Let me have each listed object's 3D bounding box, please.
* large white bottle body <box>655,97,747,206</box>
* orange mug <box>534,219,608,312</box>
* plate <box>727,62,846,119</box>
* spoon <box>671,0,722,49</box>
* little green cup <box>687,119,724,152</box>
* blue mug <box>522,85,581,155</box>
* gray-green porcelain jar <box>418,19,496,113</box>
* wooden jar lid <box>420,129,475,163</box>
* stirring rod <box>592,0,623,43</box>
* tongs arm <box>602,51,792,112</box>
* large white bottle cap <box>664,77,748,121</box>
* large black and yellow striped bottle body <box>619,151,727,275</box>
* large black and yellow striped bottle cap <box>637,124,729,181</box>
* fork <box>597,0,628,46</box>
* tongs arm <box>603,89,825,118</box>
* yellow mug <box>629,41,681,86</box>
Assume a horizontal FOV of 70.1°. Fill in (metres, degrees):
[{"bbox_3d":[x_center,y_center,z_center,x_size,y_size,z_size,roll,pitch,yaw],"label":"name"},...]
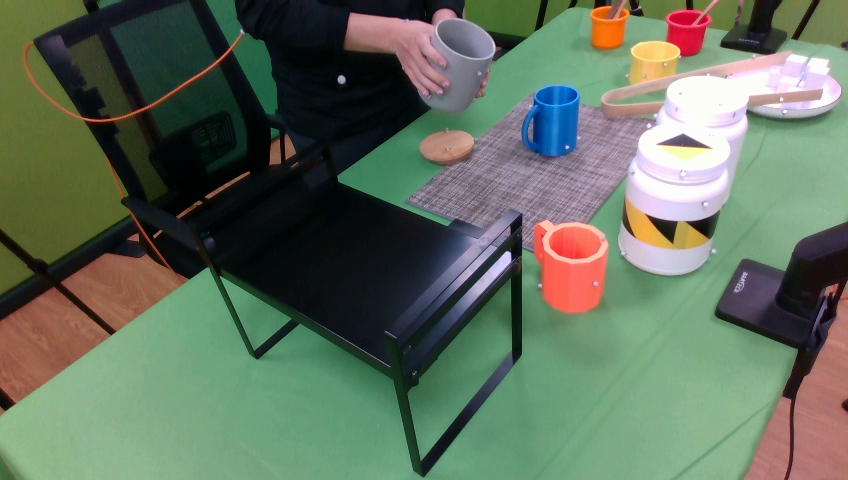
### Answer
[{"bbox_3d":[0.430,-0.148,0.959,0.130,0.185,0.130,-4,41,4],"label":"large white bottle body"},{"bbox_3d":[0.200,0.027,0.858,0.084,0.101,0.125,-24,47,-18],"label":"orange mug"},{"bbox_3d":[0.709,-0.292,1.197,0.207,0.039,0.206,-4,40,4],"label":"plate"},{"bbox_3d":[0.639,-0.510,1.380,0.193,0.022,0.041,-49,40,19],"label":"spoon"},{"bbox_3d":[0.514,-0.191,1.109,0.061,0.039,0.061,-5,40,5],"label":"little green cup"},{"bbox_3d":[0.233,-0.218,1.127,0.117,0.106,0.081,-23,43,-16],"label":"blue mug"},{"bbox_3d":[0.051,-0.290,1.027,0.106,0.126,0.105,11,51,-13],"label":"gray-green porcelain jar"},{"bbox_3d":[0.047,-0.183,1.183,0.108,0.021,0.108,-6,37,5],"label":"wooden jar lid"},{"bbox_3d":[0.460,-0.557,1.461,0.014,0.176,0.006,35,11,23],"label":"stirring rod"},{"bbox_3d":[0.552,-0.320,1.224,0.384,0.027,0.050,-10,43,7],"label":"tongs arm"},{"bbox_3d":[0.421,-0.212,0.905,0.115,0.018,0.114,-4,40,4],"label":"large white bottle cap"},{"bbox_3d":[0.354,-0.056,0.865,0.131,0.185,0.130,-4,41,4],"label":"large black and yellow striped bottle body"},{"bbox_3d":[0.346,-0.119,0.810,0.115,0.019,0.114,-5,41,5],"label":"large black and yellow striped bottle cap"},{"bbox_3d":[0.479,-0.558,1.455,0.028,0.019,0.207,35,100,38],"label":"fork"},{"bbox_3d":[0.546,-0.262,1.163,0.386,0.028,0.028,-1,49,18],"label":"tongs arm"},{"bbox_3d":[0.495,-0.389,1.321,0.100,0.064,0.130,-14,40,-6],"label":"yellow mug"}]
